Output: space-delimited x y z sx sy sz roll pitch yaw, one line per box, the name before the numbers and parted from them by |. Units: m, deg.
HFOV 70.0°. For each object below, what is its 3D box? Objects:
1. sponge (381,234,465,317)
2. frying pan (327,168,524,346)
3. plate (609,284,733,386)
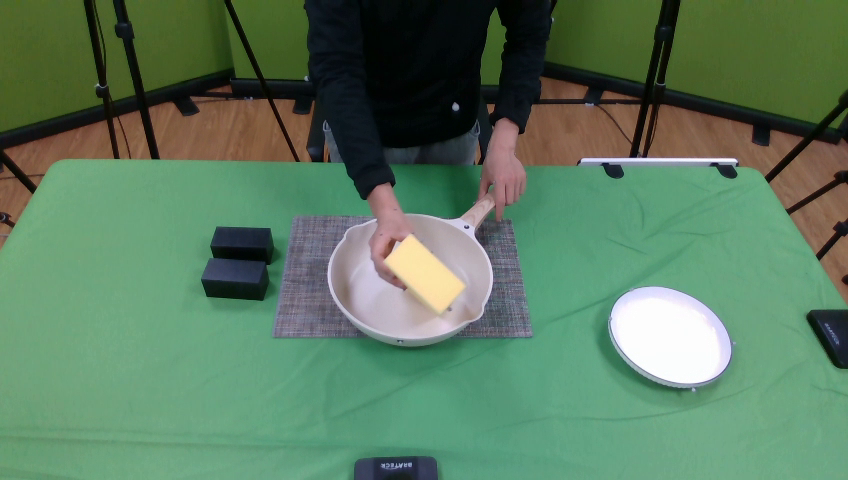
sponge | -0.001 0.065 0.993 0.118 0.207 0.061 43 84 5
frying pan | 0.042 0.009 1.132 0.305 0.103 0.487 34 61 24
plate | 0.425 0.167 1.059 0.208 0.039 0.206 2 46 -2
